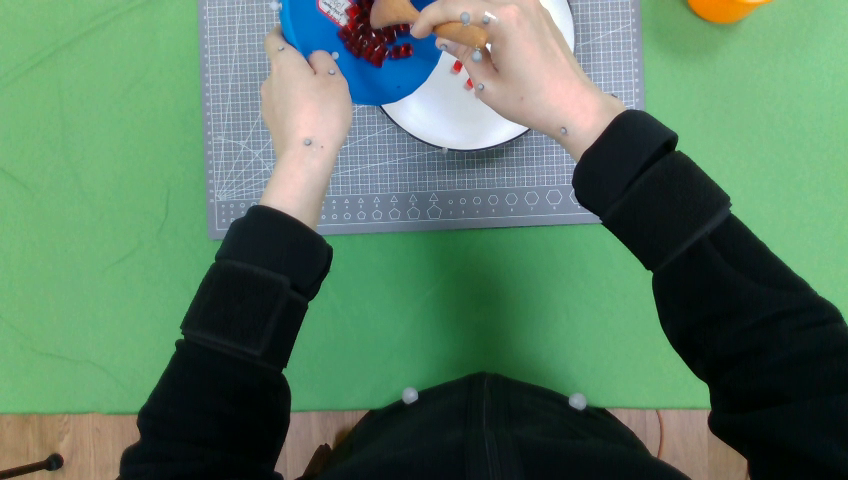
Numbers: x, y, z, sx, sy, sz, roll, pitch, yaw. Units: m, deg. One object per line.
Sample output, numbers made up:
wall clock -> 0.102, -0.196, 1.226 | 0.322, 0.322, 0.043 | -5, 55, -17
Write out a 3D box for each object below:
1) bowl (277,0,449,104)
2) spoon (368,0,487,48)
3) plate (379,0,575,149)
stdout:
bowl -> -0.061, -0.194, 0.505 | 0.152, 0.076, 0.152 | -14, 115, -33
spoon -> -0.001, -0.160, 0.435 | 0.022, 0.191, 0.041 | 27, 101, -38
plate -> 0.042, -0.192, 0.597 | 0.209, 0.038, 0.209 | 0, 90, 3
